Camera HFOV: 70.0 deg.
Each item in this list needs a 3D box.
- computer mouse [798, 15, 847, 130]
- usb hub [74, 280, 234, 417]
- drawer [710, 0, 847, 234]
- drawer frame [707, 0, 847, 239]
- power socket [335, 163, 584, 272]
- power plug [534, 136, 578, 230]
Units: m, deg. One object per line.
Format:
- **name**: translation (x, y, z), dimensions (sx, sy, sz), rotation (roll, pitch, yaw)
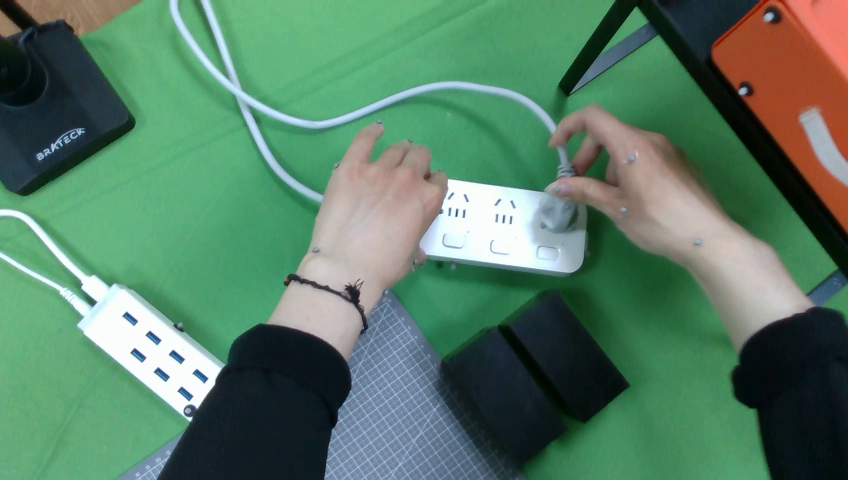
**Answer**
- **computer mouse**: translation (0.297, -0.092, 0.381), dimensions (0.063, 0.041, 0.117), rotation (-39, 85, -4)
- **usb hub**: translation (-0.226, 0.091, 0.509), dimensions (0.125, 0.025, 0.049), rotation (39, 82, 1)
- **drawer**: translation (0.322, -0.108, 0.370), dimensions (0.212, 0.073, 0.194), rotation (-35, 86, -9)
- **drawer frame**: translation (0.324, -0.112, 0.370), dimensions (0.213, 0.083, 0.201), rotation (-36, 86, -9)
- **power socket**: translation (0.036, -0.019, 0.540), dimensions (0.227, 0.032, 0.072), rotation (8, 82, -3)
- **power plug**: translation (0.118, -0.044, 0.520), dimensions (0.035, 0.053, 0.072), rotation (19, 76, -6)
